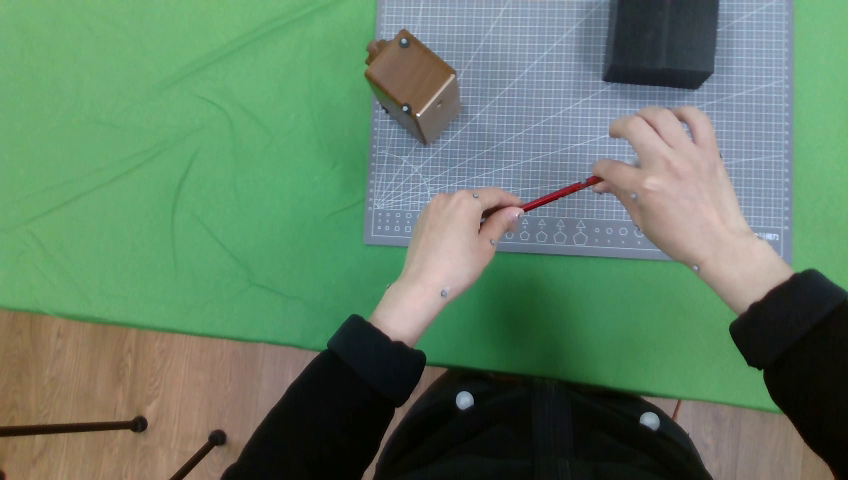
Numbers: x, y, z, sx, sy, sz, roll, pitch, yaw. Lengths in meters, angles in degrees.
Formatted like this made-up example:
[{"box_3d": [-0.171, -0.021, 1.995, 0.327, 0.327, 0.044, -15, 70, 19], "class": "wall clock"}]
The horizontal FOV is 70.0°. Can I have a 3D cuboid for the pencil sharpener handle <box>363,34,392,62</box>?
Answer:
[{"box_3d": [-0.051, -0.193, 0.614, 0.030, 0.068, 0.036, 42, 83, 8], "class": "pencil sharpener handle"}]

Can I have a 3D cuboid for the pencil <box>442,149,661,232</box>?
[{"box_3d": [0.106, -0.039, 0.521, 0.194, 0.012, 0.012, -20, 83, 11], "class": "pencil"}]

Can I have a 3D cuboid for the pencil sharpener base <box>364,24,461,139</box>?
[{"box_3d": [-0.011, -0.159, 0.621, 0.076, 0.107, 0.061, 42, 90, 8], "class": "pencil sharpener base"}]
